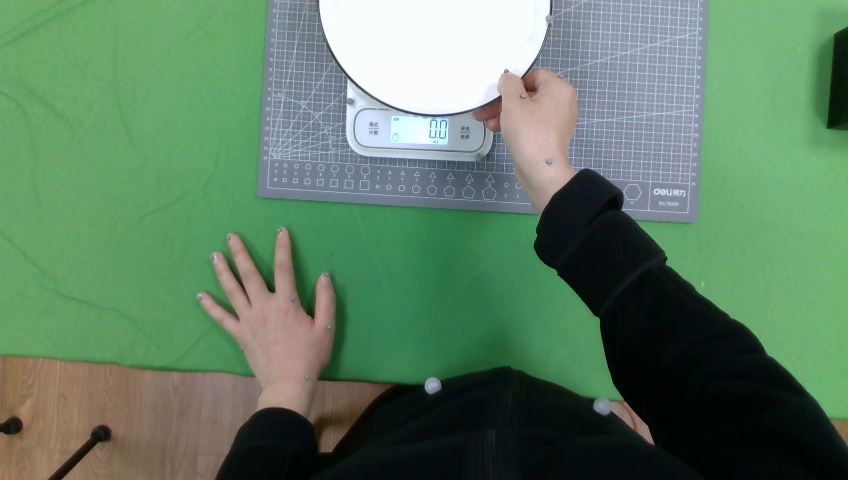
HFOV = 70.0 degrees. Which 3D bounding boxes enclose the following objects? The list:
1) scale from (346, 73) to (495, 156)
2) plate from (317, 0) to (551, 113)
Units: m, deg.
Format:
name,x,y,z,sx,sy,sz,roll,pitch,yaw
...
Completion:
name,x,y,z,sx,sy,sz,roll,pitch,yaw
scale,-0.001,-0.188,0.605,0.149,0.031,0.201,3,90,-1
plate,0.010,-0.214,0.551,0.209,0.038,0.208,0,87,-2
